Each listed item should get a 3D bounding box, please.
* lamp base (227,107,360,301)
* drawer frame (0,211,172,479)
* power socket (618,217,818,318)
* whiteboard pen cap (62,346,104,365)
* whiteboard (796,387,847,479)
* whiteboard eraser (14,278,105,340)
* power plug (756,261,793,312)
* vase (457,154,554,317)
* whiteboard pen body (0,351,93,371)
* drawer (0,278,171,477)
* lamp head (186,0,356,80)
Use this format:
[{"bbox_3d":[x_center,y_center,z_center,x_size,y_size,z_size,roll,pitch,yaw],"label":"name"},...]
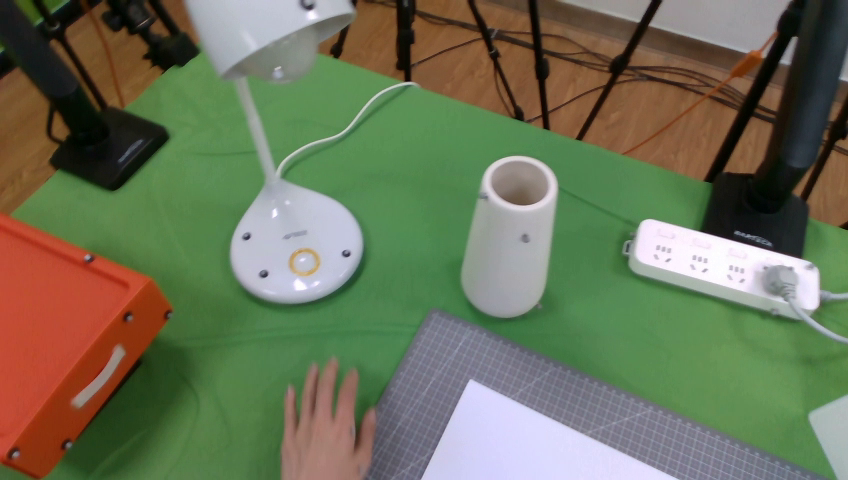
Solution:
[{"bbox_3d":[-0.166,-0.048,0.686,0.161,0.182,0.177,-25,56,-17],"label":"lamp base"},{"bbox_3d":[-0.406,0.094,0.597,0.213,0.083,0.200,21,59,12],"label":"drawer frame"},{"bbox_3d":[0.351,0.031,0.726,0.226,0.033,0.072,17,58,10],"label":"power socket"},{"bbox_3d":[-0.340,0.116,0.605,0.033,0.018,0.018,-4,55,-7],"label":"whiteboard pen cap"},{"bbox_3d":[0.523,0.187,0.493,0.144,0.307,0.215,6,53,-19],"label":"whiteboard"},{"bbox_3d":[-0.387,0.076,0.651,0.112,0.042,0.055,-11,61,29],"label":"whiteboard eraser"},{"bbox_3d":[0.389,0.055,0.682,0.035,0.053,0.072,25,61,17],"label":"power plug"},{"bbox_3d":[0.086,0.000,0.645,0.098,0.202,0.097,0,55,1],"label":"vase"},{"bbox_3d":[-0.400,0.119,0.595,0.141,0.017,0.017,-3,55,-6],"label":"whiteboard pen body"},{"bbox_3d":[-0.400,0.093,0.594,0.211,0.074,0.193,21,59,13],"label":"drawer"},{"bbox_3d":[-0.125,-0.190,0.433,0.112,0.112,0.123,-32,100,-20],"label":"lamp head"}]
